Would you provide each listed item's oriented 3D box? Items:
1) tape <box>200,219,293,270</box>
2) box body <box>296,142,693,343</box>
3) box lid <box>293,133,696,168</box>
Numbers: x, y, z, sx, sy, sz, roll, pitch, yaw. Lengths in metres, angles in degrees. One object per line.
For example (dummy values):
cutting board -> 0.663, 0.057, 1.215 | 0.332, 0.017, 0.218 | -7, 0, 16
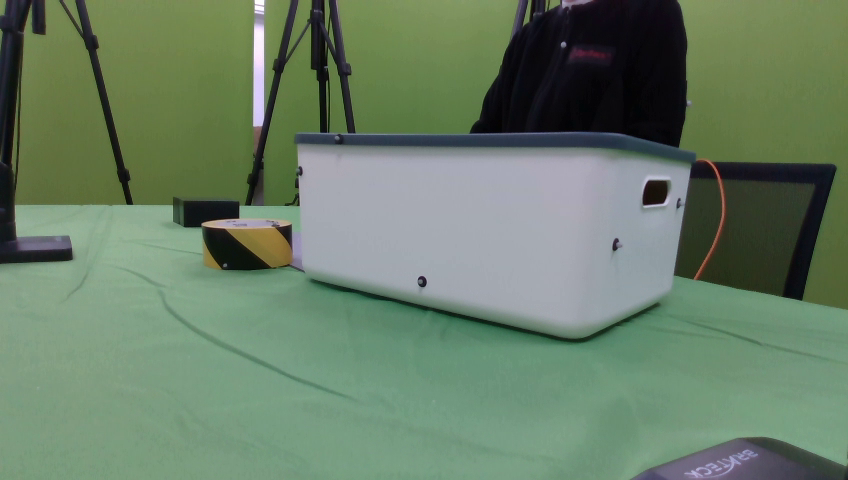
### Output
tape -> -0.228, 0.004, 0.778 | 0.117, 0.052, 0.117 | 1, 8, 0
box body -> 0.065, -0.020, 0.653 | 0.362, 0.160, 0.255 | 9, 9, 37
box lid -> 0.068, -0.094, 0.645 | 0.369, 0.015, 0.265 | 9, 8, 37
